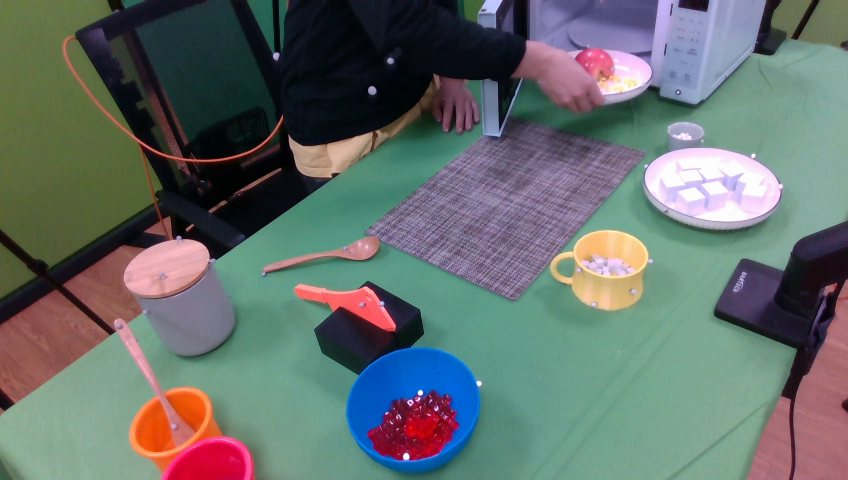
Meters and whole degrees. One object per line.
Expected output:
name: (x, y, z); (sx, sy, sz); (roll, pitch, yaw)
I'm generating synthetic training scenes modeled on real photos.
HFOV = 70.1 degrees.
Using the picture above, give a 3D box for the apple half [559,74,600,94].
apple half: (0.286, -0.290, 1.121); (0.081, 0.033, 0.081); (-1, 38, 2)

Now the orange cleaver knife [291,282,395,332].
orange cleaver knife: (-0.116, 0.091, 0.835); (0.209, 0.077, 0.012); (1, 32, 47)

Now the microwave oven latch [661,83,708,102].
microwave oven latch: (0.516, -0.298, 1.202); (0.078, 0.029, 0.030); (26, 51, 33)

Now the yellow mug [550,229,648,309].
yellow mug: (0.245, 0.040, 0.856); (0.130, 0.064, 0.099); (1, 41, 11)

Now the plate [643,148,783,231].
plate: (0.464, -0.080, 0.986); (0.207, 0.039, 0.206); (-4, 40, 4)

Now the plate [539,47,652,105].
plate: (0.322, -0.308, 1.148); (0.209, 0.038, 0.208); (-4, 40, 4)

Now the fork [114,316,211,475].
fork: (-0.309, 0.180, 0.708); (0.028, 0.018, 0.207); (-29, 89, -25)

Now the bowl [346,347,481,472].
bowl: (-0.008, 0.205, 0.690); (0.151, 0.077, 0.150); (-4, 40, 4)

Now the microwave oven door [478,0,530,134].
microwave oven door: (0.169, -0.412, 1.229); (0.039, 0.245, 0.355); (7, 43, 16)

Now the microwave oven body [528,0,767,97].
microwave oven body: (0.473, -0.516, 1.313); (0.438, 0.261, 0.327); (26, 51, 34)

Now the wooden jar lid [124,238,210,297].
wooden jar lid: (-0.335, 0.039, 0.794); (0.108, 0.021, 0.108); (-2, 40, 2)

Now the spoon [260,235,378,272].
spoon: (-0.168, 0.024, 0.966); (0.194, 0.022, 0.041); (-10, 58, -3)

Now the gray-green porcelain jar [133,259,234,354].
gray-green porcelain jar: (-0.328, 0.087, 0.836); (0.106, 0.127, 0.105); (-4, 41, 4)

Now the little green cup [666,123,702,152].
little green cup: (0.472, -0.183, 1.103); (0.061, 0.039, 0.061); (-6, 39, 5)

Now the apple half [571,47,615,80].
apple half: (0.325, -0.345, 1.167); (0.081, 0.053, 0.074); (-13, 37, -8)
